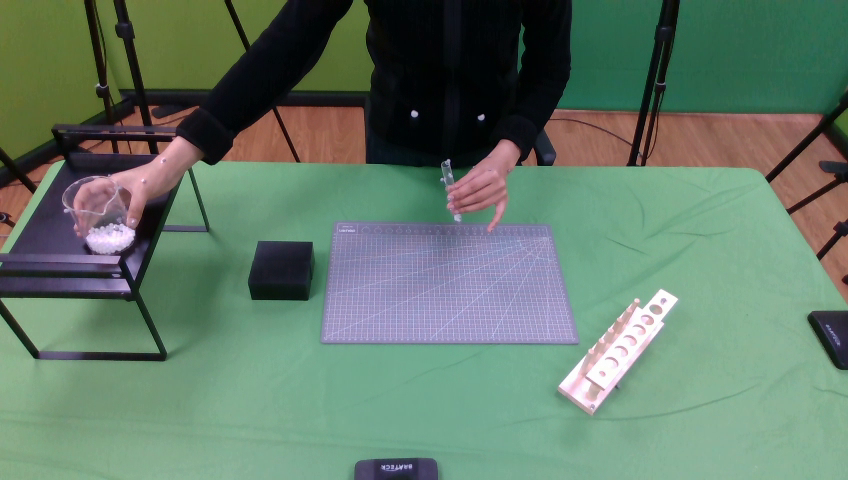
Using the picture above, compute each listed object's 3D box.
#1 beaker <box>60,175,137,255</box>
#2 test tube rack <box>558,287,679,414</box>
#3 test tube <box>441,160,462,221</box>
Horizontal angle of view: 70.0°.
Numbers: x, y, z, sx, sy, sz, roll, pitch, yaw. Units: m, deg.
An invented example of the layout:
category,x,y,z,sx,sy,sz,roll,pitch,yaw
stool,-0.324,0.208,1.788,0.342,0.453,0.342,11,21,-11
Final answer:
category,x,y,z,sx,sy,sz,roll,pitch,yaw
beaker,-0.470,-0.031,0.887,0.074,0.101,0.083,-30,55,-26
test tube rack,0.326,0.170,1.009,0.066,0.085,0.242,35,54,26
test tube,0.048,-0.082,1.050,0.017,0.151,0.017,-7,52,9
